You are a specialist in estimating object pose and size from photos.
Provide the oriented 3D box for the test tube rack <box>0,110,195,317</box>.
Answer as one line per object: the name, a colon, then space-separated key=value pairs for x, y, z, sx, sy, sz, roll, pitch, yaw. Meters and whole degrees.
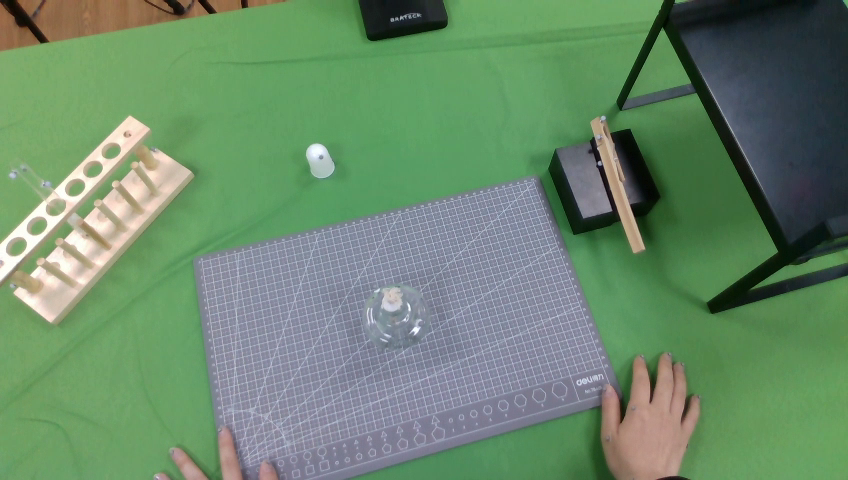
test tube rack: x=-0.394 y=-0.032 z=0.723 sx=0.066 sy=0.086 sz=0.241 roll=33 pitch=72 yaw=12

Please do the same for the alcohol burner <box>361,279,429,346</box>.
alcohol burner: x=-0.033 y=0.075 z=0.667 sx=0.078 sy=0.120 sz=0.077 roll=-1 pitch=67 yaw=2

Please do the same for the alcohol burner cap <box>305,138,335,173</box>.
alcohol burner cap: x=-0.135 y=-0.112 z=0.779 sx=0.034 sy=0.048 sz=0.033 roll=-1 pitch=65 yaw=3

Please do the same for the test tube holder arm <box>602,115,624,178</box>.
test tube holder arm: x=0.227 y=-0.113 z=0.743 sx=0.010 sy=0.015 sz=0.087 roll=5 pitch=64 yaw=-33

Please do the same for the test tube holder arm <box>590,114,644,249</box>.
test tube holder arm: x=0.230 y=-0.072 z=0.724 sx=0.013 sy=0.015 sz=0.177 roll=5 pitch=65 yaw=-34

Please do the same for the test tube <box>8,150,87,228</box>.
test tube: x=-0.413 y=-0.052 z=0.677 sx=0.017 sy=0.151 sz=0.017 roll=1 pitch=64 yaw=-1
